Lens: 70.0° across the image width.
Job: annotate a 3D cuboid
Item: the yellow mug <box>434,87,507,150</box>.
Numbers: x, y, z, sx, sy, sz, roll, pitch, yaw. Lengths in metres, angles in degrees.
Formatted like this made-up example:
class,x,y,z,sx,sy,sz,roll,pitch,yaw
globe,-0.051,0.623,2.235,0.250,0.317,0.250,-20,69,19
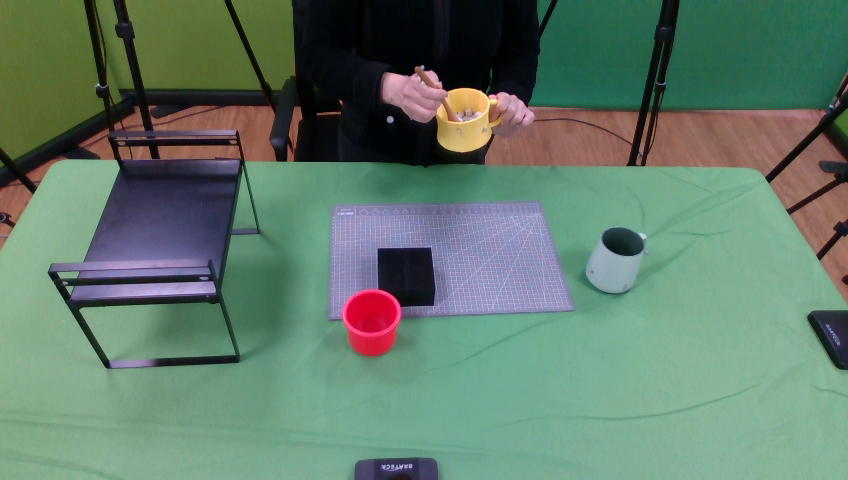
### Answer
class,x,y,z,sx,sy,sz,roll,pitch,yaw
yellow mug,0.085,-0.220,1.077,0.131,0.064,0.099,-14,49,-4

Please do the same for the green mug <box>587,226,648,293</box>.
class,x,y,z,sx,sy,sz,roll,pitch,yaw
green mug,0.372,0.030,1.136,0.125,0.105,0.092,-27,53,-26

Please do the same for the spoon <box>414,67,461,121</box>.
class,x,y,z,sx,sy,sz,roll,pitch,yaw
spoon,0.031,-0.228,1.009,0.041,0.195,0.021,12,70,35
